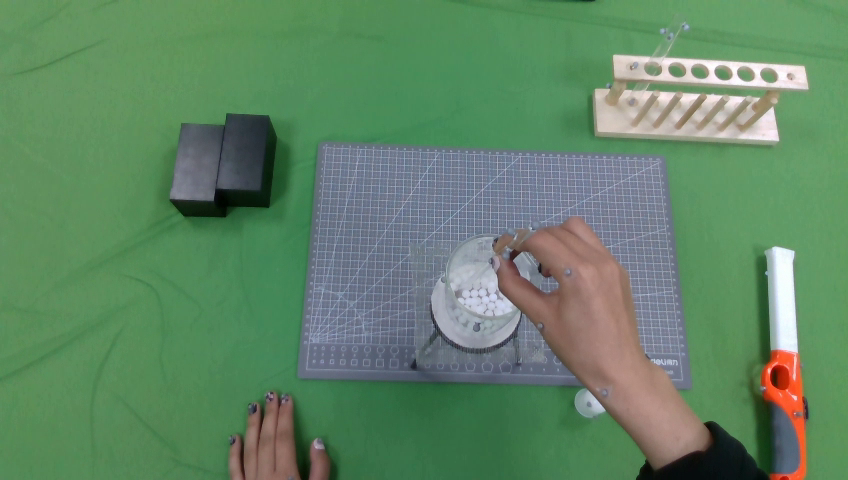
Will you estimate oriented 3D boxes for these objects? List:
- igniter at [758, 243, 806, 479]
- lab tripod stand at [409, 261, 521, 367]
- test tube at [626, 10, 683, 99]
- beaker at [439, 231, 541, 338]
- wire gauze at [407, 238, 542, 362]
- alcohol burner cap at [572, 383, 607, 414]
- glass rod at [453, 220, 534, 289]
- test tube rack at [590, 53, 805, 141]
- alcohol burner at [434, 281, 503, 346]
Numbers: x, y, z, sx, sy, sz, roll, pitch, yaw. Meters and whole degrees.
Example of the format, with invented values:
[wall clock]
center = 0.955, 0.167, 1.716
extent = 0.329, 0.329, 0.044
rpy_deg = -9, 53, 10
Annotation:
[igniter]
center = 0.414, 0.136, 0.704
extent = 0.057, 0.025, 0.275
rpy_deg = 12, 71, -10
[lab tripod stand]
center = 0.045, 0.081, 0.644
extent = 0.148, 0.132, 0.147
rpy_deg = 0, 70, -1
[test tube]
center = 0.276, -0.219, 0.734
extent = 0.017, 0.151, 0.017
rpy_deg = 1, 67, -1
[beaker]
center = 0.053, 0.043, 0.536
extent = 0.084, 0.101, 0.073
rpy_deg = -2, 70, -4
[wire gauze]
center = 0.047, 0.056, 0.583
extent = 0.125, 0.011, 0.120
rpy_deg = -1, 69, -1
[alcohol burner cap]
center = 0.186, 0.175, 0.671
extent = 0.034, 0.048, 0.033
rpy_deg = 1, 69, -2
[glass rod]
center = 0.049, 0.017, 0.485
extent = 0.008, 0.200, 0.008
rpy_deg = 3, 73, -11
[test tube rack]
center = 0.346, -0.181, 0.777
extent = 0.242, 0.085, 0.066
rpy_deg = 2, 71, -2
[alcohol burner]
center = 0.050, 0.077, 0.656
extent = 0.078, 0.120, 0.077
rpy_deg = 2, 69, -4
